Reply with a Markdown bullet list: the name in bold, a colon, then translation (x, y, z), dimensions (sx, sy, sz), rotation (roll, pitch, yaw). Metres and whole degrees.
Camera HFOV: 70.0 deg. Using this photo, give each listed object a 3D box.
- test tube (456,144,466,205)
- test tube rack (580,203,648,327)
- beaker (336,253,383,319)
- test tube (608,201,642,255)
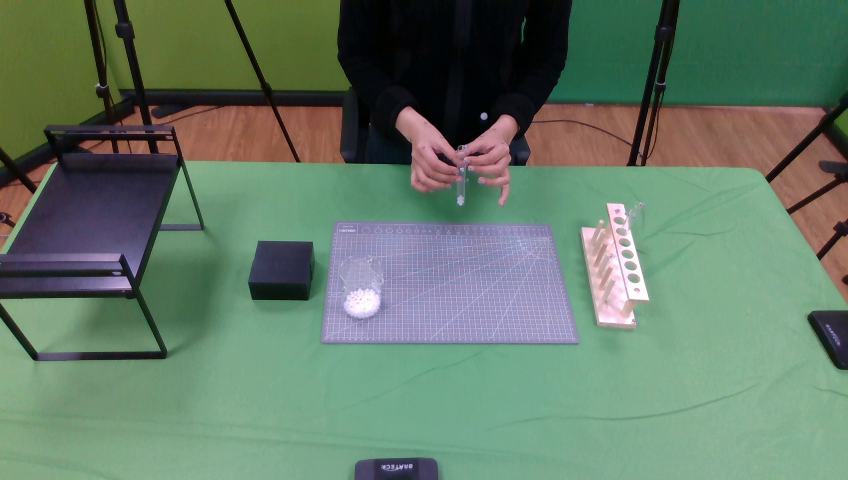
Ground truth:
- **test tube**: translation (0.066, -0.115, 1.095), dimensions (0.017, 0.151, 0.017), rotation (-1, 52, 1)
- **test tube rack**: translation (0.352, 0.041, 1.143), dimensions (0.067, 0.085, 0.241), rotation (4, 46, 0)
- **beaker**: translation (-0.108, 0.084, 1.052), dimensions (0.084, 0.101, 0.074), rotation (25, 50, 17)
- **test tube**: translation (0.373, -0.019, 1.133), dimensions (0.017, 0.151, 0.017), rotation (3, 52, -4)
